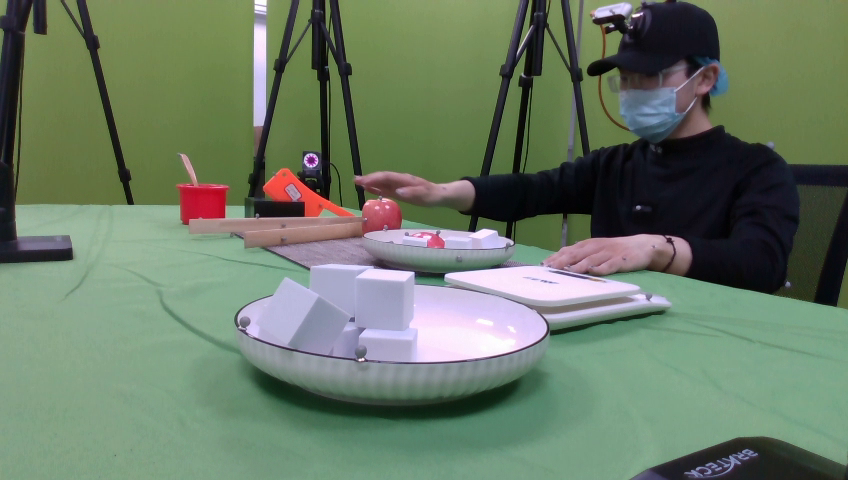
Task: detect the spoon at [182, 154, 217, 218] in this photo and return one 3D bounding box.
[{"bbox_3d":[-0.455,-0.107,1.212,0.042,0.021,0.193,-6,55,-34],"label":"spoon"}]

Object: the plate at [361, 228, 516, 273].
[{"bbox_3d":[0.018,0.013,0.818,0.209,0.038,0.209,2,7,0],"label":"plate"}]

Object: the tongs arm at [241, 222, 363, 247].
[{"bbox_3d":[-0.159,-0.016,1.034,0.028,0.028,0.389,2,6,33],"label":"tongs arm"}]

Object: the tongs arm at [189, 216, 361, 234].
[{"bbox_3d":[-0.220,-0.028,1.088,0.387,0.026,0.050,-3,8,-43],"label":"tongs arm"}]

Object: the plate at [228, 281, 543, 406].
[{"bbox_3d":[-0.025,0.067,0.413,0.208,0.039,0.207,2,7,0],"label":"plate"}]

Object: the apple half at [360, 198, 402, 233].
[{"bbox_3d":[-0.066,-0.032,1.014,0.053,0.074,0.081,9,6,21],"label":"apple half"}]

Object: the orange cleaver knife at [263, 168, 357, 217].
[{"bbox_3d":[-0.241,-0.078,1.296,0.212,0.077,0.012,32,-11,-26],"label":"orange cleaver knife"}]

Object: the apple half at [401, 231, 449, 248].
[{"bbox_3d":[0.003,0.005,0.843,0.081,0.033,0.081,1,4,0],"label":"apple half"}]

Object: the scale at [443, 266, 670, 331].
[{"bbox_3d":[0.131,0.052,0.603,0.202,0.031,0.148,-2,9,-37],"label":"scale"}]
